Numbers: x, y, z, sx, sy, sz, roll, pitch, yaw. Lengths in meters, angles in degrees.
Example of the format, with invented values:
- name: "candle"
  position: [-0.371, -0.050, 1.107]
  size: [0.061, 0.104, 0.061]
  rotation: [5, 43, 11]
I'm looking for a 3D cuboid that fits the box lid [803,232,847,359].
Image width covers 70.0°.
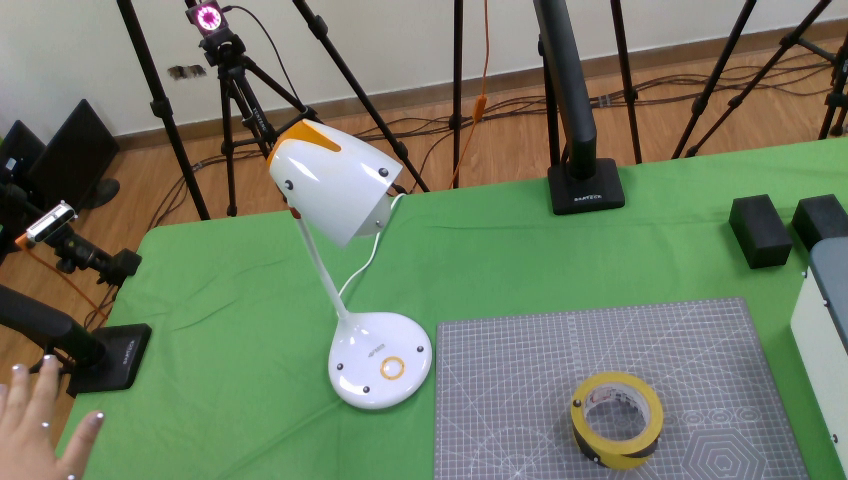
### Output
- name: "box lid"
  position: [0.575, 0.124, 0.604]
  size: [0.263, 0.015, 0.368]
  rotation: [-6, 49, 10]

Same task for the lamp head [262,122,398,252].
- name: "lamp head"
  position: [-0.105, -0.062, 0.633]
  size: [0.123, 0.113, 0.112]
  rotation: [33, 59, -3]

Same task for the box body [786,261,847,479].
- name: "box body"
  position: [0.589, 0.173, 0.658]
  size: [0.254, 0.162, 0.360]
  rotation: [-6, 49, 10]

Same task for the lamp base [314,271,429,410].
- name: "lamp base"
  position: [-0.096, 0.129, 0.865]
  size: [0.177, 0.182, 0.160]
  rotation: [27, 61, 35]

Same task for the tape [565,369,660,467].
- name: "tape"
  position: [0.241, 0.226, 0.775]
  size: [0.117, 0.053, 0.115]
  rotation: [-7, 49, 8]
